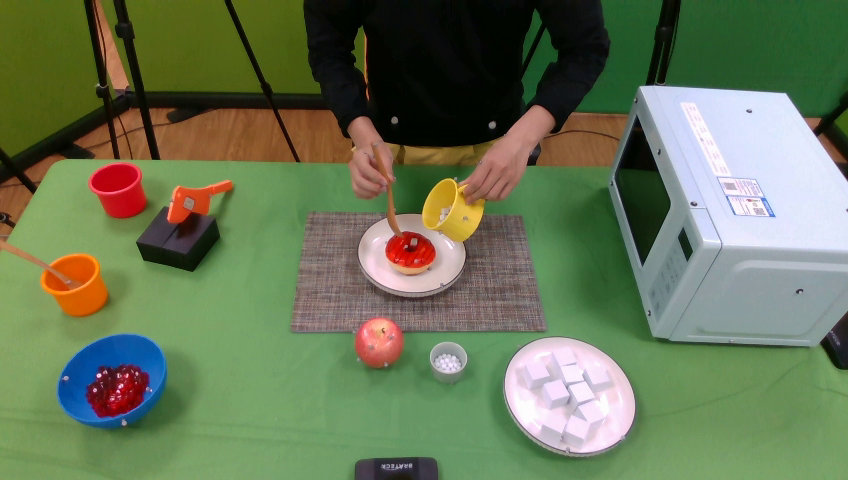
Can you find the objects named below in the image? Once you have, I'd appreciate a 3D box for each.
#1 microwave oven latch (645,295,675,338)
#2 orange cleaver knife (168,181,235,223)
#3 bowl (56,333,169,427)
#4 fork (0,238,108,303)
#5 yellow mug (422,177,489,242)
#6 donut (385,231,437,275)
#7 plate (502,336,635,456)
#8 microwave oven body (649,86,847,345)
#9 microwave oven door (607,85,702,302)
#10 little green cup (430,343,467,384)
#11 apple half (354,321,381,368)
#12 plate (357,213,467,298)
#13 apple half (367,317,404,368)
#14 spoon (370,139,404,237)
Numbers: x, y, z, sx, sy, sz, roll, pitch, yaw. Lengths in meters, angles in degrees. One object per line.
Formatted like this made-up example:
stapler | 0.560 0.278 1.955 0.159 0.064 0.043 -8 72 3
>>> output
microwave oven latch | 0.412 0.134 1.061 0.030 0.029 0.078 3 45 0
orange cleaver knife | -0.436 -0.078 1.196 0.012 0.077 0.211 16 15 10
bowl | -0.456 0.223 0.911 0.151 0.077 0.150 3 46 -2
fork | -0.633 0.048 1.017 0.208 0.018 0.028 40 41 -27
yellow mug | 0.061 -0.063 1.083 0.064 0.131 0.099 25 44 -31
donut | -0.025 0.024 1.141 0.099 0.048 0.098 3 44 -3
plate | 0.225 0.248 0.963 0.208 0.039 0.206 2 46 -2
microwave oven body | 0.568 -0.053 1.118 0.326 0.261 0.439 2 45 -1
microwave oven door | 0.423 -0.094 1.140 0.039 0.245 0.353 2 46 -1
little green cup | 0.039 0.203 0.993 0.061 0.039 0.061 2 46 -2
apple half | -0.097 0.176 0.985 0.033 0.081 0.080 -12 48 -20
plate | -0.023 0.032 1.150 0.209 0.038 0.208 2 46 -2
apple half | -0.061 0.167 0.998 0.053 0.075 0.080 -11 44 -20
spoon | -0.063 -0.085 1.037 0.021 0.194 0.041 -21 33 -15
